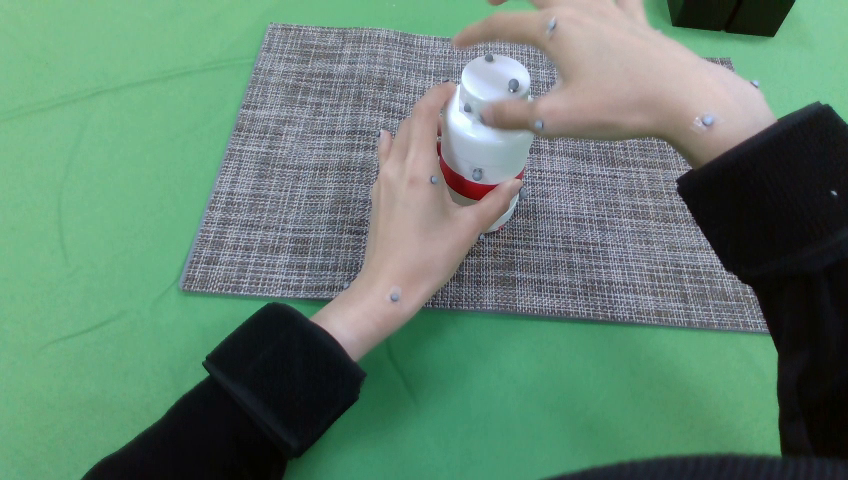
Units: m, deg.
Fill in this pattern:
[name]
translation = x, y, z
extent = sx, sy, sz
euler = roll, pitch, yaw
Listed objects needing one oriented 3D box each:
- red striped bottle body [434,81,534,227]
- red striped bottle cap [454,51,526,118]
[red striped bottle body]
translation = 0.040, -0.067, 0.422
extent = 0.063, 0.120, 0.062
euler = 1, 55, -2
[red striped bottle cap]
translation = 0.041, -0.098, 0.377
extent = 0.044, 0.018, 0.044
euler = 3, 55, -4
